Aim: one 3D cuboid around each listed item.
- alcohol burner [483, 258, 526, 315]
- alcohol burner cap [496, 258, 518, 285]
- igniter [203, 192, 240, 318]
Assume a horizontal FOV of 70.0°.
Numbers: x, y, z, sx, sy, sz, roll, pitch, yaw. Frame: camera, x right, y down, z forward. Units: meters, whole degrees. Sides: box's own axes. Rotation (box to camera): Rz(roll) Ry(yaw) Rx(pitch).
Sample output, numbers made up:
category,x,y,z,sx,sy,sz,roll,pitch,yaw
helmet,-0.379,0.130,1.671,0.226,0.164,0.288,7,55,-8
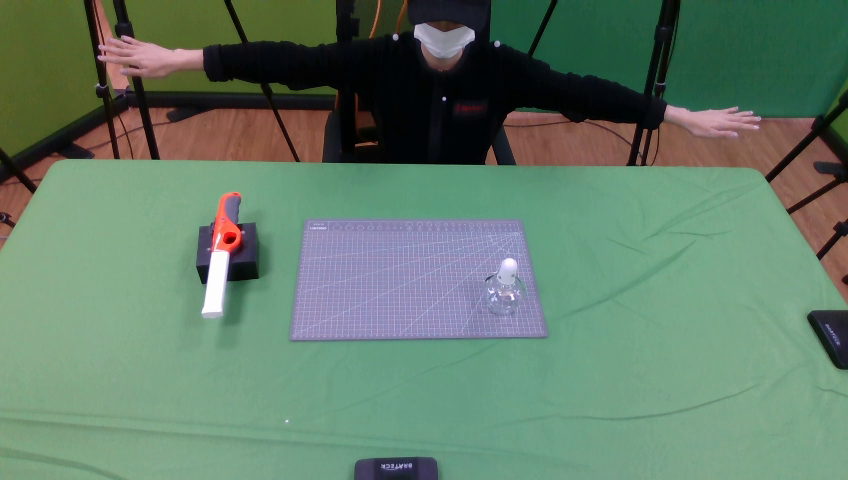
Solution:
category,x,y,z,sx,sy,sz,roll,pitch,yaw
alcohol burner,0.143,0.076,1.067,0.078,0.120,0.077,1,45,-1
alcohol burner cap,0.144,0.051,1.041,0.034,0.048,0.033,4,45,-3
igniter,-0.361,0.017,1.084,0.057,0.025,0.274,-3,51,-6
